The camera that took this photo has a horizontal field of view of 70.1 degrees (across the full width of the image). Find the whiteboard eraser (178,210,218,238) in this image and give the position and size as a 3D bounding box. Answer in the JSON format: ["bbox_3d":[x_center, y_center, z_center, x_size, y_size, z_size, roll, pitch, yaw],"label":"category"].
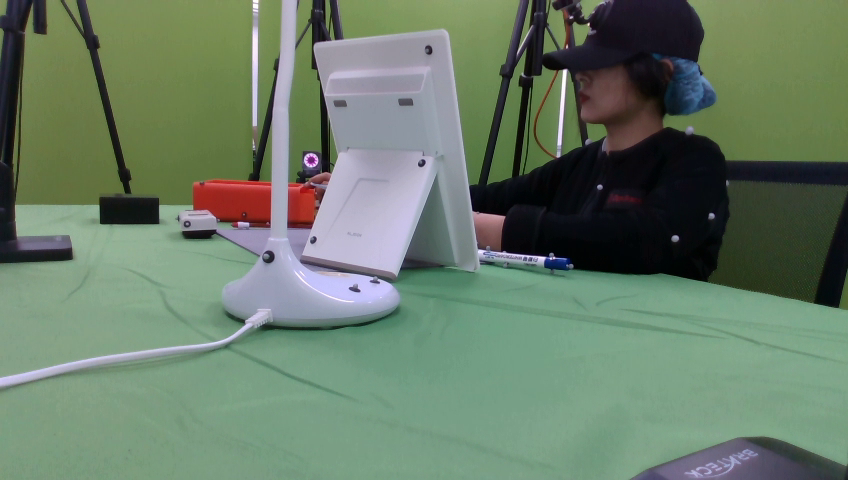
[{"bbox_3d":[-0.380,-0.027,1.014,0.056,0.042,0.112,0,8,-25],"label":"whiteboard eraser"}]

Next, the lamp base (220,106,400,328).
[{"bbox_3d":[-0.101,-0.023,0.531,0.160,0.180,0.179,4,10,10],"label":"lamp base"}]

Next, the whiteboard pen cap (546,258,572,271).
[{"bbox_3d":[0.175,0.032,0.790,0.033,0.018,0.018,3,6,37],"label":"whiteboard pen cap"}]

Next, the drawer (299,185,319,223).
[{"bbox_3d":[-0.338,-0.085,1.325,0.212,0.073,0.194,1,8,-7],"label":"drawer"}]

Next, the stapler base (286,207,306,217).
[{"bbox_3d":[-0.278,-0.063,1.316,0.041,0.024,0.130,6,-2,-11],"label":"stapler base"}]

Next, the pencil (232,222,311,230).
[{"bbox_3d":[-0.261,-0.025,1.141,0.195,0.012,0.012,2,7,-26],"label":"pencil"}]

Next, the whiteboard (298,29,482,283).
[{"bbox_3d":[-0.075,-0.082,0.741,0.216,0.305,0.144,9,29,37],"label":"whiteboard"}]

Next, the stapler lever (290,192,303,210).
[{"bbox_3d":[-0.277,-0.084,1.317,0.027,0.040,0.118,6,3,-11],"label":"stapler lever"}]

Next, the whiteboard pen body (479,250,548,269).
[{"bbox_3d":[0.130,0.028,0.827,0.140,0.017,0.017,6,8,38],"label":"whiteboard pen body"}]

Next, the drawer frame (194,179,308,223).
[{"bbox_3d":[-0.367,-0.087,1.320,0.214,0.082,0.201,1,8,-8],"label":"drawer frame"}]
